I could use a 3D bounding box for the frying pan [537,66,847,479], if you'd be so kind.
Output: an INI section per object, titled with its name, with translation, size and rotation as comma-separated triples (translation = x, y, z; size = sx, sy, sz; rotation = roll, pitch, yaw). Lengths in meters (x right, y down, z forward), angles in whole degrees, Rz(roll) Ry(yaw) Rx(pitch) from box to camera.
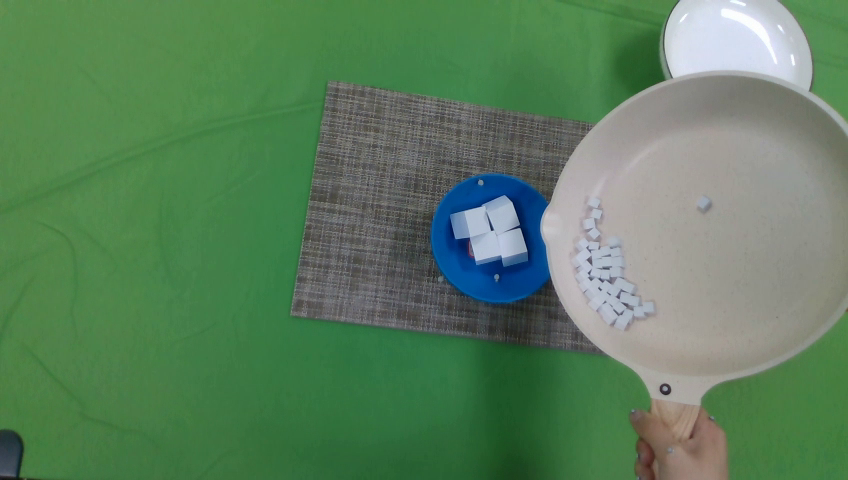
[frying pan]
translation = 0.236, 0.082, 0.561
size = 0.104, 0.305, 0.486
rotation = 26, 72, -45

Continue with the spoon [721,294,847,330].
[spoon]
translation = 0.458, 0.078, 0.720
size = 0.022, 0.193, 0.041
rotation = 7, 73, -52

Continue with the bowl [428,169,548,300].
[bowl]
translation = 0.074, 0.001, 0.711
size = 0.152, 0.077, 0.150
rotation = 2, 78, -8

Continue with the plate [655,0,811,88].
[plate]
translation = 0.394, -0.239, 0.785
size = 0.208, 0.039, 0.206
rotation = 2, 79, -8
